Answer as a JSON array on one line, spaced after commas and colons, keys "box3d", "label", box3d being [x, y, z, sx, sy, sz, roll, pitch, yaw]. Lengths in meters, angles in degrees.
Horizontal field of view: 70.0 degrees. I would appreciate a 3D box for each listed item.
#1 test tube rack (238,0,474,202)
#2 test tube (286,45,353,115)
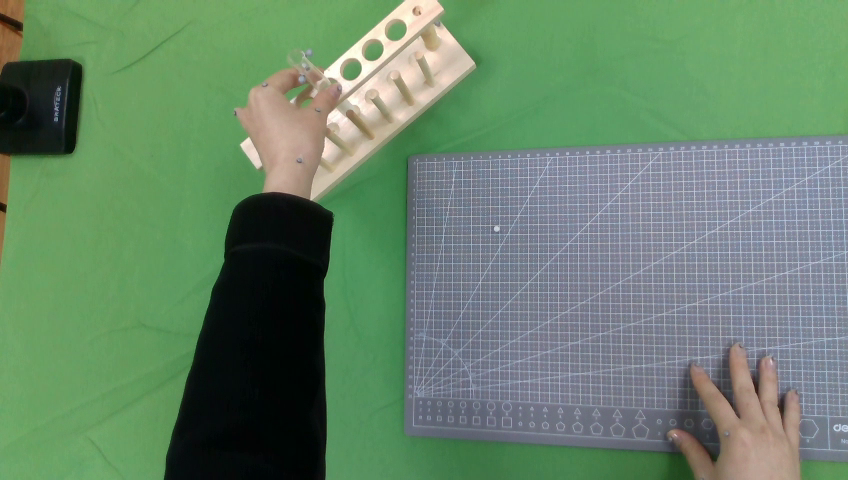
[{"box3d": [-0.068, -0.146, 0.635, 0.242, 0.085, 0.066, -38, 78, 7], "label": "test tube rack"}, {"box3d": [-0.098, -0.152, 0.591, 0.017, 0.151, 0.017, -1, 83, 11], "label": "test tube"}]
